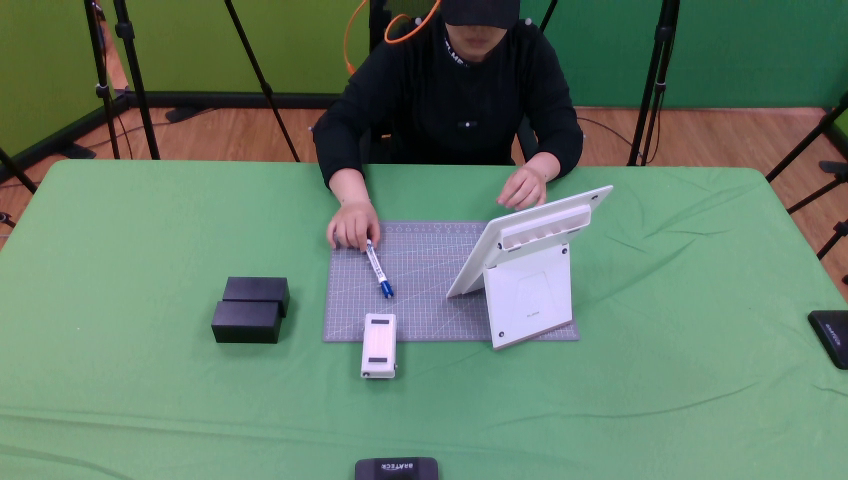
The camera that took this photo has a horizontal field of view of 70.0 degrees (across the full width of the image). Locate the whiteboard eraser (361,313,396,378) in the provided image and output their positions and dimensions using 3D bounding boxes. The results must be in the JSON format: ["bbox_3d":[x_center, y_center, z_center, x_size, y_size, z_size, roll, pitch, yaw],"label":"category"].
[{"bbox_3d":[-0.075,0.176,1.006,0.055,0.042,0.112,3,50,-4],"label":"whiteboard eraser"}]

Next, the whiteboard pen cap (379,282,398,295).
[{"bbox_3d":[-0.064,0.089,1.102,0.033,0.018,0.018,19,48,13],"label":"whiteboard pen cap"}]

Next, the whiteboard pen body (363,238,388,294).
[{"bbox_3d":[-0.089,0.048,1.140,0.017,0.017,0.140,-13,50,-16],"label":"whiteboard pen body"}]

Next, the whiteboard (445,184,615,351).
[{"bbox_3d":[0.187,0.065,0.989,0.217,0.306,0.143,-15,68,-18],"label":"whiteboard"}]
